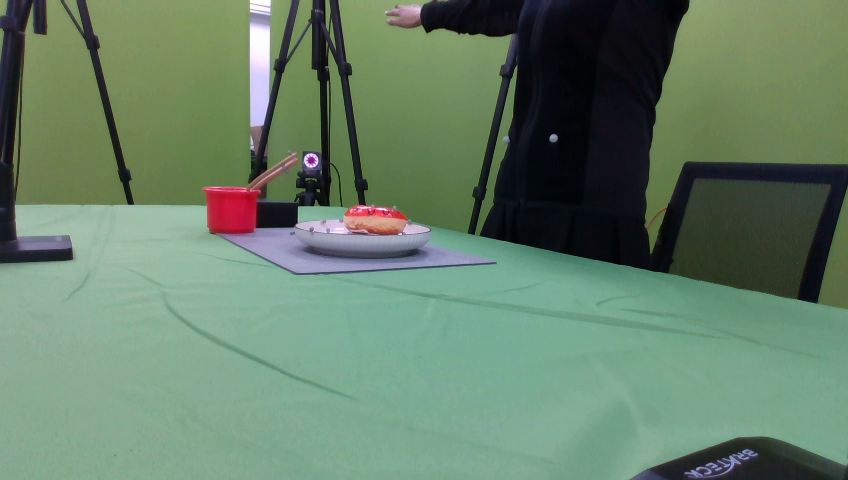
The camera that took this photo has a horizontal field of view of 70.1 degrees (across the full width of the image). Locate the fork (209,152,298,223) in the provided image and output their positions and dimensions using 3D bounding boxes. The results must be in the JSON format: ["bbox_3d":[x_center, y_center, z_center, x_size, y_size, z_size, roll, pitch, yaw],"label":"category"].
[{"bbox_3d":[-0.296,-0.088,1.044,0.207,0.018,0.028,-38,10,15],"label":"fork"}]

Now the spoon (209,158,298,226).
[{"bbox_3d":[-0.303,-0.087,1.082,0.194,0.022,0.041,-44,24,-8],"label":"spoon"}]

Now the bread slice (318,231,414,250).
[{"bbox_3d":[-0.093,0.000,0.915,0.132,0.019,0.104,0,6,-26],"label":"bread slice"}]

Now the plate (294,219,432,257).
[{"bbox_3d":[-0.092,-0.004,0.924,0.209,0.038,0.209,2,7,0],"label":"plate"}]

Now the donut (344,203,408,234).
[{"bbox_3d":[-0.073,-0.031,0.931,0.099,0.048,0.099,4,3,0],"label":"donut"}]
